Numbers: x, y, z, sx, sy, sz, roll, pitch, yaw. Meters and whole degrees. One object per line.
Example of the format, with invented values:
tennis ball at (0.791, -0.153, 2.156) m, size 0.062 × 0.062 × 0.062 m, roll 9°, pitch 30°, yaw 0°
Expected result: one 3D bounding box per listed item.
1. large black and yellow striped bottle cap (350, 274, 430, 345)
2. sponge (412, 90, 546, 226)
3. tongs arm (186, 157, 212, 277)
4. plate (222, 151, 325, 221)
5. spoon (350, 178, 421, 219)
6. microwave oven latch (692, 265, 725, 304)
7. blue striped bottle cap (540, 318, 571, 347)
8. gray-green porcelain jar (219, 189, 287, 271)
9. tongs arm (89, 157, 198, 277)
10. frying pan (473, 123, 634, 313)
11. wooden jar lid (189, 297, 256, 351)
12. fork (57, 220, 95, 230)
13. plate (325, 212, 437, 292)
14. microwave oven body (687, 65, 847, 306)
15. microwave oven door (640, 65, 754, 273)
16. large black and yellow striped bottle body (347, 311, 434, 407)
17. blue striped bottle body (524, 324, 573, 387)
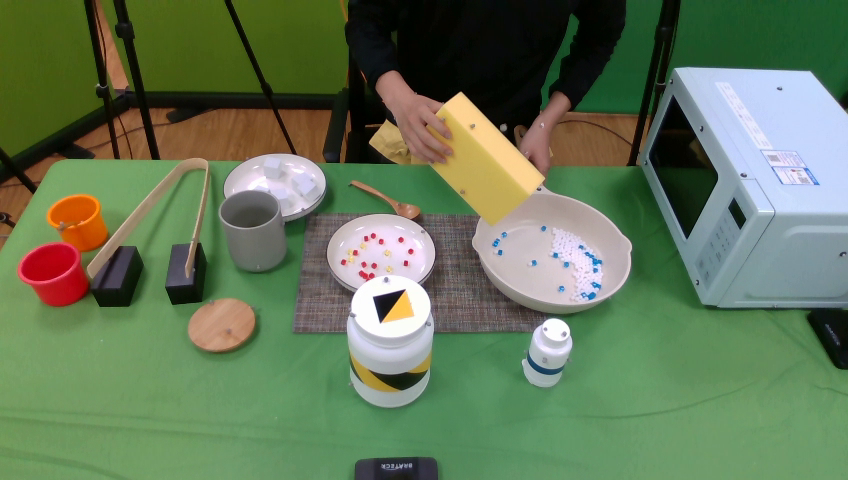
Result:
large black and yellow striped bottle cap at (-0.048, 0.097, 0.868) m, size 0.115 × 0.019 × 0.114 m, roll 3°, pitch 48°, yaw -3°
sponge at (0.092, -0.138, 1.037) m, size 0.207 × 0.118 × 0.061 m, roll 45°, pitch 50°, yaw 0°
tongs arm at (-0.445, -0.058, 1.168) m, size 0.051 × 0.026 × 0.382 m, roll -4°, pitch 37°, yaw -6°
plate at (-0.310, -0.106, 1.263) m, size 0.208 × 0.039 × 0.206 m, roll 2°, pitch 47°, yaw -2°
spoon at (-0.084, -0.092, 1.272) m, size 0.193 × 0.022 × 0.041 m, roll 31°, pitch 70°, yaw 25°
microwave oven latch at (0.522, 0.081, 1.116) m, size 0.030 × 0.029 × 0.078 m, roll 1°, pitch 46°, yaw -2°
blue striped bottle cap at (0.203, 0.142, 0.933) m, size 0.044 × 0.021 × 0.044 m, roll 3°, pitch 49°, yaw -3°
gray-green porcelain jar at (-0.310, -0.014, 1.114) m, size 0.106 × 0.127 × 0.105 m, roll 2°, pitch 46°, yaw -2°
tongs arm at (-0.529, -0.058, 1.164) m, size 0.028 × 0.028 × 0.385 m, roll 1°, pitch 36°, yaw 8°
frying pan at (0.235, -0.061, 1.208) m, size 0.307 × 0.103 × 0.484 m, roll 1°, pitch 55°, yaw -6°
wooden jar lid at (-0.342, 0.145, 1.033) m, size 0.108 × 0.021 × 0.107 m, roll 2°, pitch 45°, yaw -2°
fork at (-0.624, -0.027, 1.086) m, size 0.028 × 0.207 × 0.018 m, roll -3°, pitch 92°, yaw -17°
plate at (-0.080, 0.030, 1.143) m, size 0.209 × 0.038 × 0.208 m, roll 3°, pitch 46°, yaw -2°
microwave oven body at (0.669, -0.111, 1.176) m, size 0.326 × 0.261 × 0.439 m, roll 0°, pitch 46°, yaw -3°
microwave oven door at (0.523, -0.147, 1.193) m, size 0.039 × 0.245 × 0.353 m, roll 0°, pitch 47°, yaw -3°
large black and yellow striped bottle body at (-0.052, 0.157, 0.929) m, size 0.131 × 0.185 × 0.130 m, roll 2°, pitch 47°, yaw -2°
blue striped bottle body at (0.200, 0.178, 0.970) m, size 0.063 × 0.121 × 0.062 m, roll 2°, pitch 46°, yaw -2°
